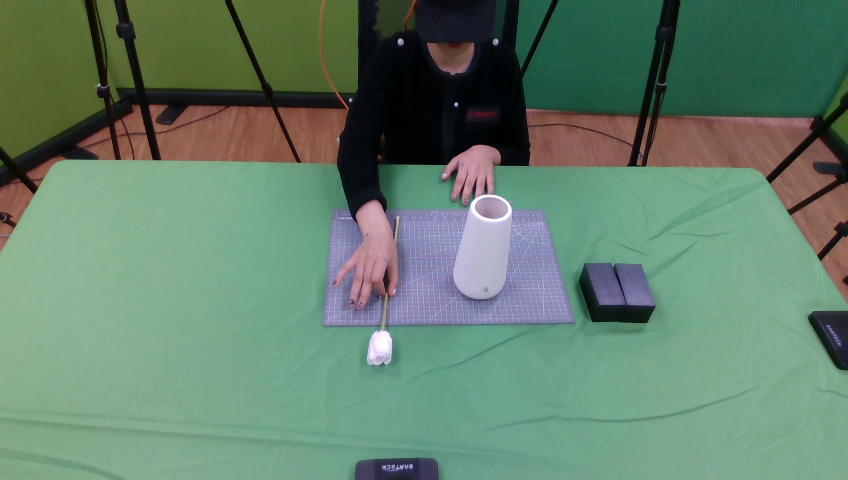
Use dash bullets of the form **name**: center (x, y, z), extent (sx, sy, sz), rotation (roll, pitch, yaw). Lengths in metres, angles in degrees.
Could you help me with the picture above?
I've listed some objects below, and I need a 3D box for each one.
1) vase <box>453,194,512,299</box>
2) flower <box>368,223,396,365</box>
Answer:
- **vase**: center (0.107, 0.016, 1.065), extent (0.098, 0.201, 0.097), rotation (3, 47, -3)
- **flower**: center (-0.067, 0.081, 1.123), extent (0.038, 0.044, 0.359), rotation (26, 36, -18)
